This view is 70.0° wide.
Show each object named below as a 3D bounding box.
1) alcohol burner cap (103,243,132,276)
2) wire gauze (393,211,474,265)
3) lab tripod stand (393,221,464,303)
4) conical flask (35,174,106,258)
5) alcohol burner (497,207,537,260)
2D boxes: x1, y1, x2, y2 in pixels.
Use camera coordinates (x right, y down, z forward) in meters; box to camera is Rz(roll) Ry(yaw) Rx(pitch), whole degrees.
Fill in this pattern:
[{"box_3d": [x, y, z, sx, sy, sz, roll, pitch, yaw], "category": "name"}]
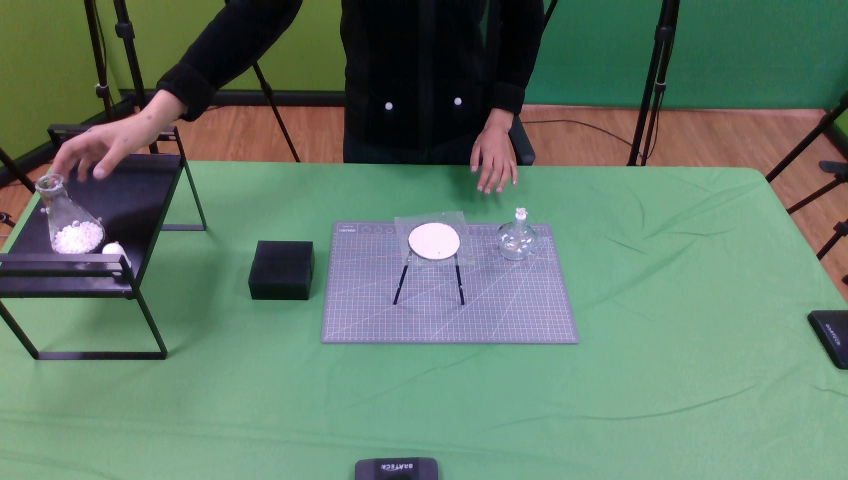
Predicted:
[{"box_3d": [-0.446, 0.025, 0.875, 0.034, 0.048, 0.033, 3, 45, -3], "category": "alcohol burner cap"}, {"box_3d": [0.015, -0.003, 1.028, 0.125, 0.011, 0.120, -4, 47, -7], "category": "wire gauze"}, {"box_3d": [0.010, 0.045, 1.074, 0.148, 0.132, 0.147, 2, 48, -2], "category": "lab tripod stand"}, {"box_3d": [-0.517, -0.038, 0.875, 0.075, 0.122, 0.075, 2, 46, -2], "category": "conical flask"}, {"box_3d": [0.180, -0.018, 1.163, 0.078, 0.120, 0.077, 1, 48, -1], "category": "alcohol burner"}]
